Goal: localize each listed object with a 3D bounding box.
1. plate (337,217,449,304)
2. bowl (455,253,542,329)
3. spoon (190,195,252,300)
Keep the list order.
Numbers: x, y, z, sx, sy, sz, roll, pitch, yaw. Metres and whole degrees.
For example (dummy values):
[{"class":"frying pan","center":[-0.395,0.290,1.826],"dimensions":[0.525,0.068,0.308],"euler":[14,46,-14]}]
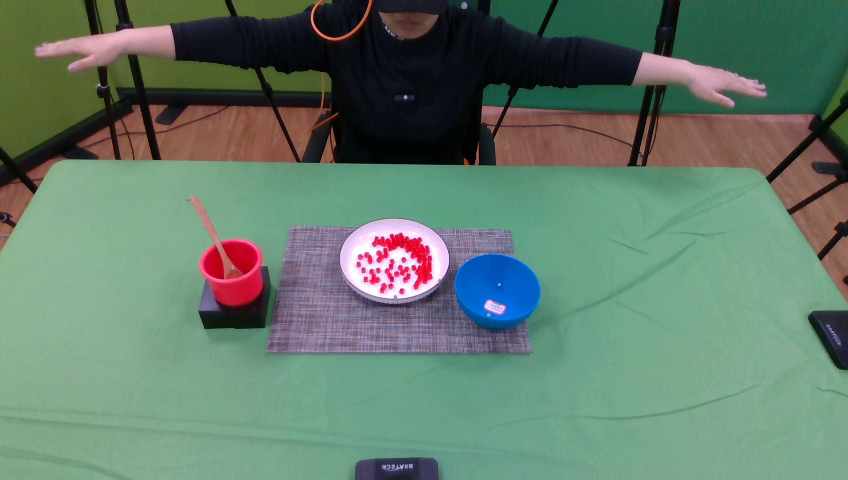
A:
[{"class":"plate","center":[-0.058,0.042,1.136],"dimensions":[0.208,0.039,0.206],"euler":[2,46,-2]},{"class":"bowl","center":[0.125,0.103,1.062],"dimensions":[0.151,0.077,0.150],"euler":[2,46,-2]},{"class":"spoon","center":[-0.339,0.012,1.007],"dimensions":[0.041,0.021,0.194],"euler":[-27,97,-26]}]
